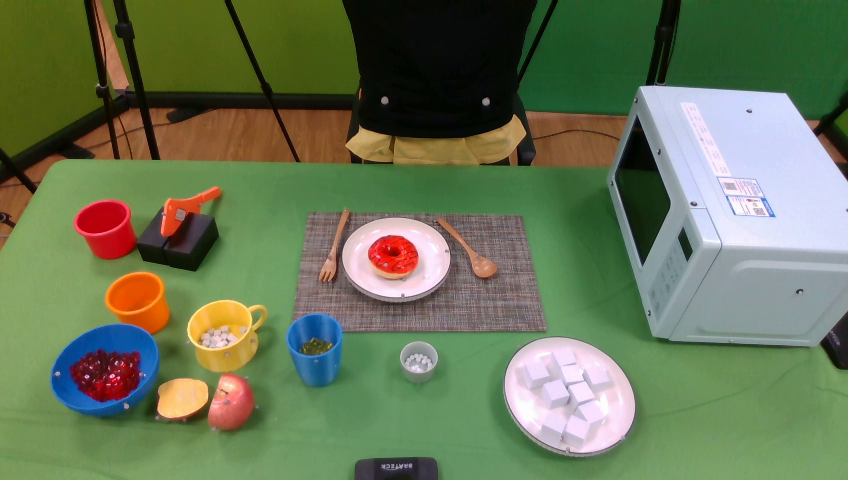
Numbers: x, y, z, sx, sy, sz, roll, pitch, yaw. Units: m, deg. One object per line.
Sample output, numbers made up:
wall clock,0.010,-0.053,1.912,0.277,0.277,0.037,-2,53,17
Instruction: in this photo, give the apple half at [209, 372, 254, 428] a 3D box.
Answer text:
apple half,-0.282,0.244,0.908,0.053,0.075,0.080,8,42,-2

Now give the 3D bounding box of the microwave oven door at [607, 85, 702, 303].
microwave oven door,0.423,-0.094,1.140,0.039,0.245,0.353,2,46,-1

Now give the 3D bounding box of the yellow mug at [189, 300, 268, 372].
yellow mug,-0.316,0.149,1.002,0.131,0.064,0.099,-32,55,-31

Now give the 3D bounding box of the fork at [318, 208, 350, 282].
fork,-0.170,0.005,1.177,0.028,0.019,0.206,2,47,9

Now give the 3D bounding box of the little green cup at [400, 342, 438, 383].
little green cup,-0.010,0.202,0.991,0.061,0.039,0.061,2,47,-2

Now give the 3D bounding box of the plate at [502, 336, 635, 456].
plate,0.225,0.248,0.963,0.208,0.039,0.206,2,46,-2

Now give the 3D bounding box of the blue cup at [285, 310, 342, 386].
blue cup,-0.170,0.179,0.958,0.093,0.101,0.092,2,44,-2

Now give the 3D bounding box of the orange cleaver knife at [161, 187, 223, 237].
orange cleaver knife,-0.449,-0.059,1.181,0.012,0.077,0.211,14,17,6

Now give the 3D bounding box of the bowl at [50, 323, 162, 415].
bowl,-0.472,0.209,0.924,0.151,0.077,0.150,3,45,-2

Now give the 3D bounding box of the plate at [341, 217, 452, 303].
plate,-0.052,0.039,1.140,0.209,0.038,0.208,2,46,-2

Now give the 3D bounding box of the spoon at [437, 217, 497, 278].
spoon,0.080,0.010,1.188,0.041,0.022,0.192,-34,55,-8

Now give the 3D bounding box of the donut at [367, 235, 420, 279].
donut,-0.057,0.032,1.132,0.099,0.048,0.098,3,45,-3

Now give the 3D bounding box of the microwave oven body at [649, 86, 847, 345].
microwave oven body,0.568,-0.053,1.118,0.326,0.261,0.439,2,45,-1

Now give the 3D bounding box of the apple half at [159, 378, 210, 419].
apple half,-0.366,0.247,0.926,0.081,0.033,0.081,8,31,-5

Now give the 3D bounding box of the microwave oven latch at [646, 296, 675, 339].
microwave oven latch,0.412,0.134,1.061,0.030,0.029,0.078,4,45,1
